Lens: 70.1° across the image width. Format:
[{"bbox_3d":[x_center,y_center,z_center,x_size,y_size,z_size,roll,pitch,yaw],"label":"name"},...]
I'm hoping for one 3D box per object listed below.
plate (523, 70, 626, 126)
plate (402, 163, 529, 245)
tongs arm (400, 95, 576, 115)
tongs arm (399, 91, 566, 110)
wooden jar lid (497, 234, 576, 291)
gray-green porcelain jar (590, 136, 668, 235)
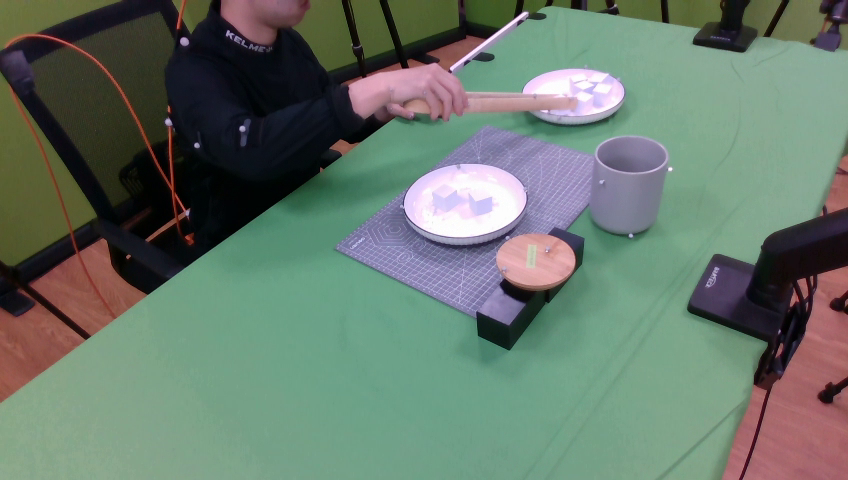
[{"bbox_3d":[0.308,-0.290,1.251,0.207,0.039,0.206,-4,40,4],"label":"plate"},{"bbox_3d":[0.069,-0.056,1.008,0.209,0.038,0.208,-4,40,4],"label":"plate"},{"bbox_3d":[0.132,-0.256,1.122,0.387,0.026,0.050,-12,33,-33],"label":"tongs arm"},{"bbox_3d":[0.121,-0.265,1.139,0.390,0.028,0.028,-9,35,-29],"label":"tongs arm"},{"bbox_3d":[0.155,0.032,0.834,0.108,0.021,0.108,-5,40,5],"label":"wooden jar lid"},{"bbox_3d":[0.314,-0.080,0.937,0.106,0.127,0.105,-4,41,4],"label":"gray-green porcelain jar"}]
